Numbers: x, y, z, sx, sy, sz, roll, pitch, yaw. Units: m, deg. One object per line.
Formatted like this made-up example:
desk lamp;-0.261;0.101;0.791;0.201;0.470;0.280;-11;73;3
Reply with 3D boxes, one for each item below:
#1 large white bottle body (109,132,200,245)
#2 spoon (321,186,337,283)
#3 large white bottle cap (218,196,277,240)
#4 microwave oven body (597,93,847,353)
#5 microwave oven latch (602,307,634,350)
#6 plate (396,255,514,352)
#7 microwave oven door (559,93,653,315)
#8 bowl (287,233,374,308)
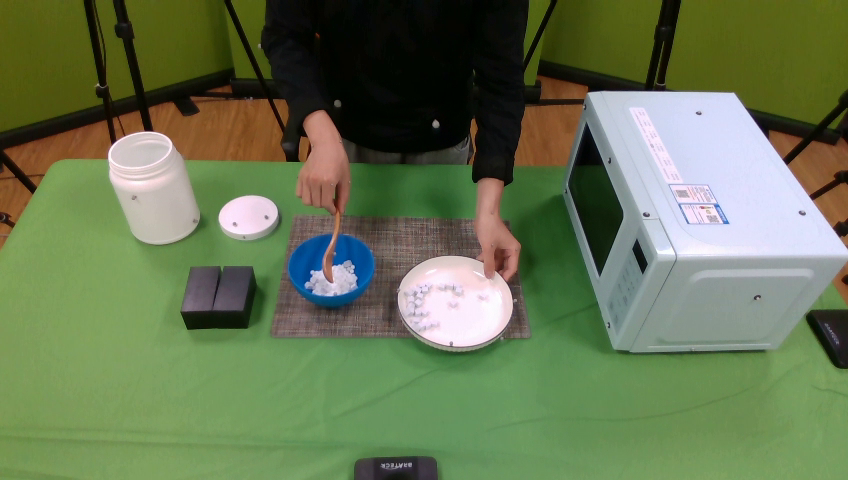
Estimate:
large white bottle body;-0.506;-0.097;1.141;0.131;0.185;0.130;2;46;-2
spoon;-0.166;-0.013;1.070;0.021;0.042;0.192;-16;61;27
large white bottle cap;-0.355;-0.045;1.220;0.115;0.018;0.114;2;46;-2
microwave oven body;0.475;-0.041;1.109;0.326;0.261;0.438;-1;45;-4
microwave oven latch;0.332;0.153;1.044;0.030;0.029;0.078;-1;45;-4
plate;0.053;0.115;1.076;0.209;0.038;0.208;2;47;-2
microwave oven door;0.327;-0.074;1.123;0.039;0.245;0.353;-1;46;-5
bowl;-0.165;0.068;1.078;0.151;0.077;0.150;3;46;-2
